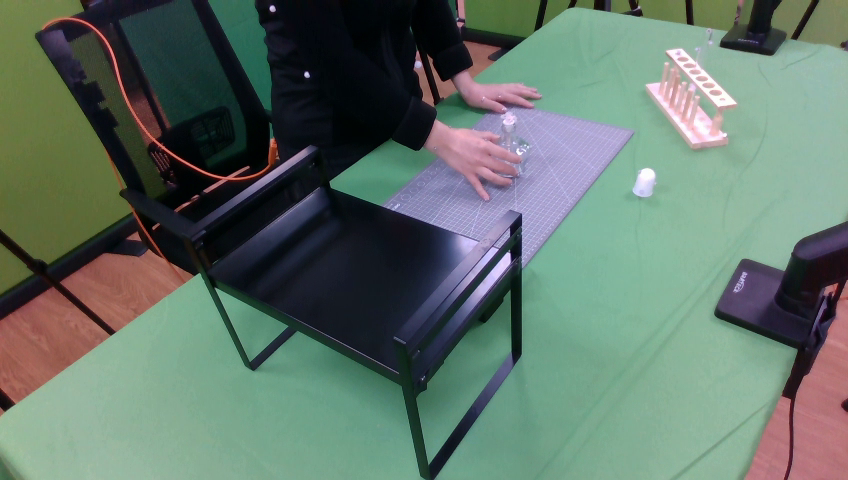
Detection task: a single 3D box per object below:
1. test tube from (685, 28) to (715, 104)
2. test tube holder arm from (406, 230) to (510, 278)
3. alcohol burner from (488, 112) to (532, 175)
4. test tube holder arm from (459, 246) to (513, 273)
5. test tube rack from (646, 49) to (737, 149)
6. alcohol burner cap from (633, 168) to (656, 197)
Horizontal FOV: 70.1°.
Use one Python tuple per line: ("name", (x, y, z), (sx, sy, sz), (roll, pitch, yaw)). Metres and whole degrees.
("test tube", (0.524, -0.328, 1.152), (0.017, 0.151, 0.017), (-1, 42, 1))
("test tube holder arm", (0.046, 0.018, 0.877), (0.177, 0.015, 0.013), (21, 63, 30))
("alcohol burner", (0.155, -0.176, 1.083), (0.078, 0.119, 0.077), (-2, 41, 2))
("test tube holder arm", (0.085, 0.027, 0.857), (0.087, 0.015, 0.010), (20, 63, 30))
("test tube rack", (0.511, -0.280, 1.175), (0.067, 0.085, 0.241), (-8, 41, 1))
("alcohol burner cap", (0.374, -0.099, 1.018), (0.034, 0.048, 0.033), (0, 41, 1))
